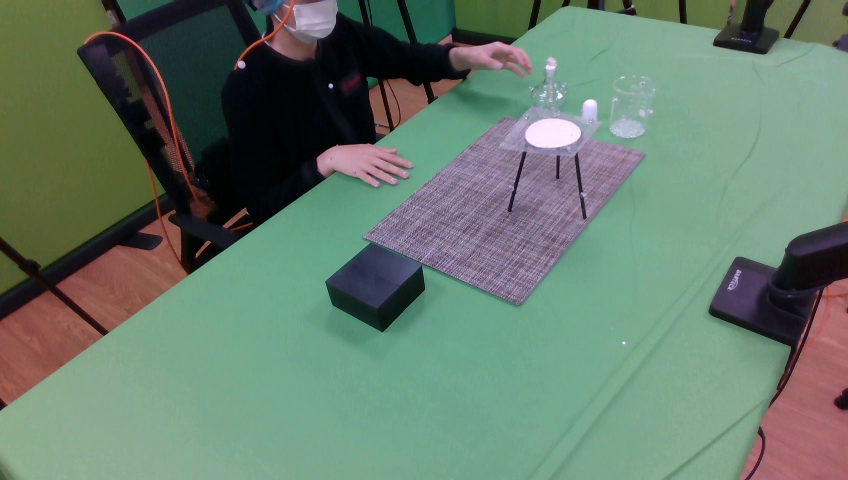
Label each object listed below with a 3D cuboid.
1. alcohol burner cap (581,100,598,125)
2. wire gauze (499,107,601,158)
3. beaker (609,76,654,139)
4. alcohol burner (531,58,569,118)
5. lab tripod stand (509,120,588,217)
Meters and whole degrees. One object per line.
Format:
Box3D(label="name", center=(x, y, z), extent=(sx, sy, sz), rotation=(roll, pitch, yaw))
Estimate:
Box3D(label="alcohol burner cap", center=(0.331, -0.258, 1.210), extent=(0.034, 0.048, 0.033), rotation=(-5, 41, 5))
Box3D(label="wire gauze", center=(0.198, -0.168, 0.943), extent=(0.120, 0.011, 0.125), rotation=(17, 47, 27))
Box3D(label="beaker", center=(0.393, -0.248, 1.144), extent=(0.074, 0.101, 0.083), rotation=(-32, 47, -24))
Box3D(label="alcohol burner", center=(0.255, -0.311, 1.227), extent=(0.078, 0.119, 0.077), rotation=(-6, 41, 6))
Box3D(label="lab tripod stand", center=(0.208, -0.114, 0.983), extent=(0.148, 0.132, 0.147), rotation=(-5, 42, 5))
